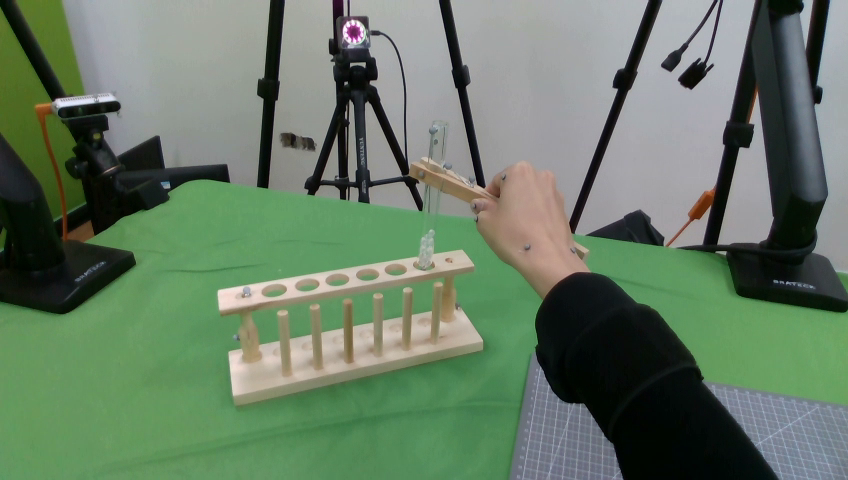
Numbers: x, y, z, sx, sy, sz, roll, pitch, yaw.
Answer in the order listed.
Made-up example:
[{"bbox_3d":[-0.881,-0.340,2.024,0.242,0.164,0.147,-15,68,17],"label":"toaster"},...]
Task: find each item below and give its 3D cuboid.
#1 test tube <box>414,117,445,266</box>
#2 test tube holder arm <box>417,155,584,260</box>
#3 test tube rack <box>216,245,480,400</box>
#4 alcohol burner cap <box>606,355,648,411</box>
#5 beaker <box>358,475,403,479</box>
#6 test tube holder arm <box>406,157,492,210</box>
[{"bbox_3d":[0.005,-0.041,0.564,0.017,0.151,0.017,5,30,-2],"label":"test tube"},{"bbox_3d":[0.061,-0.032,0.526,0.177,0.015,0.013,32,37,26],"label":"test tube holder arm"},{"bbox_3d":[-0.067,0.075,0.586,0.243,0.086,0.066,-9,32,-17],"label":"test tube rack"},{"bbox_3d":[0.183,0.125,0.544,0.034,0.048,0.033,1,29,0],"label":"alcohol burner cap"},{"bbox_3d":[-0.032,0.200,0.354,0.083,0.101,0.074,12,32,20],"label":"beaker"},{"bbox_3d":[0.022,-0.051,0.540,0.087,0.015,0.010,27,34,19],"label":"test tube holder arm"}]
